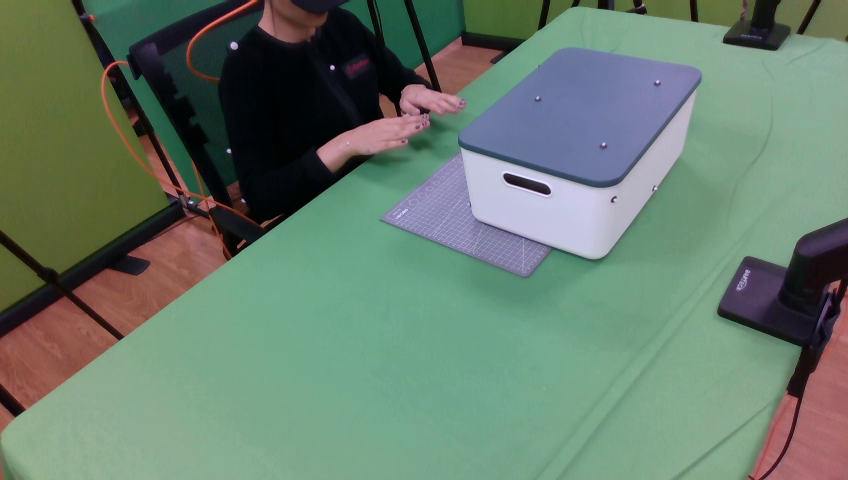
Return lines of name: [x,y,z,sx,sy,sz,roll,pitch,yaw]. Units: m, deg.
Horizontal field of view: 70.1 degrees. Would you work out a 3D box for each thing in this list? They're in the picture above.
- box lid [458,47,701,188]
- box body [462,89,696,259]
box lid: [0.253,-0.211,0.954,0.261,0.015,0.372,22,49,30]
box body: [0.261,-0.153,1.001,0.252,0.161,0.365,21,48,31]
